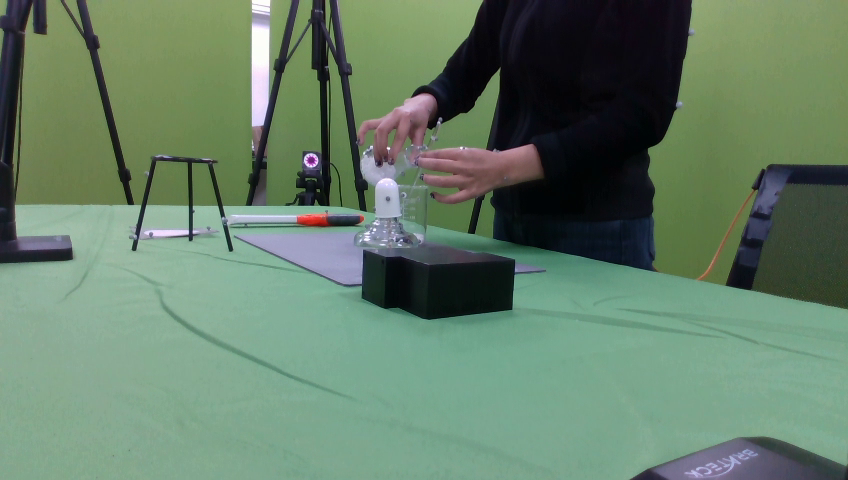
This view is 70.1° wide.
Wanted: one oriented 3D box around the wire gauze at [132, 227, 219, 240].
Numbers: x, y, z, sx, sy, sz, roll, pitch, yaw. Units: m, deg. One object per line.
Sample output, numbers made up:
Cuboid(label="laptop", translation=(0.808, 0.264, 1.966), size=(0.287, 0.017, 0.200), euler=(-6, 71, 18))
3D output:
Cuboid(label="wire gauze", translation=(-0.421, -0.014, 1.024), size=(0.122, 0.011, 0.124), euler=(-2, 7, -34))

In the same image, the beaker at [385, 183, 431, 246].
Cuboid(label="beaker", translation=(-0.031, -0.043, 1.000), size=(0.084, 0.100, 0.074), euler=(4, 7, 15))

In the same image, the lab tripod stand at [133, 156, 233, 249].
Cuboid(label="lab tripod stand", translation=(-0.342, -0.054, 0.878), size=(0.148, 0.131, 0.148), euler=(4, 6, 0))

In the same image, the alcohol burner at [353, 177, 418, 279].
Cuboid(label="alcohol burner", translation=(-0.044, -0.014, 0.710), size=(0.078, 0.119, 0.078), euler=(4, 9, 0))

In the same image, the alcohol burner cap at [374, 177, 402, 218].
Cuboid(label="alcohol burner cap", translation=(-0.044, -0.049, 0.704), size=(0.034, 0.048, 0.034), euler=(-4, 10, 1))

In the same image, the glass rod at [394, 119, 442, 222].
Cuboid(label="glass rod", translation=(-0.012, -0.108, 0.976), size=(0.008, 0.199, 0.008), euler=(18, 33, -12))

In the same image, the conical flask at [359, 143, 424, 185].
Cuboid(label="conical flask", translation=(-0.050, -0.134, 1.022), size=(0.076, 0.075, 0.121), euler=(-3, -1, -36))

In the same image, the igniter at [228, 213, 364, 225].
Cuboid(label="igniter", translation=(-0.252, -0.043, 1.227), size=(0.278, 0.025, 0.057), euler=(-2, -3, -32))
